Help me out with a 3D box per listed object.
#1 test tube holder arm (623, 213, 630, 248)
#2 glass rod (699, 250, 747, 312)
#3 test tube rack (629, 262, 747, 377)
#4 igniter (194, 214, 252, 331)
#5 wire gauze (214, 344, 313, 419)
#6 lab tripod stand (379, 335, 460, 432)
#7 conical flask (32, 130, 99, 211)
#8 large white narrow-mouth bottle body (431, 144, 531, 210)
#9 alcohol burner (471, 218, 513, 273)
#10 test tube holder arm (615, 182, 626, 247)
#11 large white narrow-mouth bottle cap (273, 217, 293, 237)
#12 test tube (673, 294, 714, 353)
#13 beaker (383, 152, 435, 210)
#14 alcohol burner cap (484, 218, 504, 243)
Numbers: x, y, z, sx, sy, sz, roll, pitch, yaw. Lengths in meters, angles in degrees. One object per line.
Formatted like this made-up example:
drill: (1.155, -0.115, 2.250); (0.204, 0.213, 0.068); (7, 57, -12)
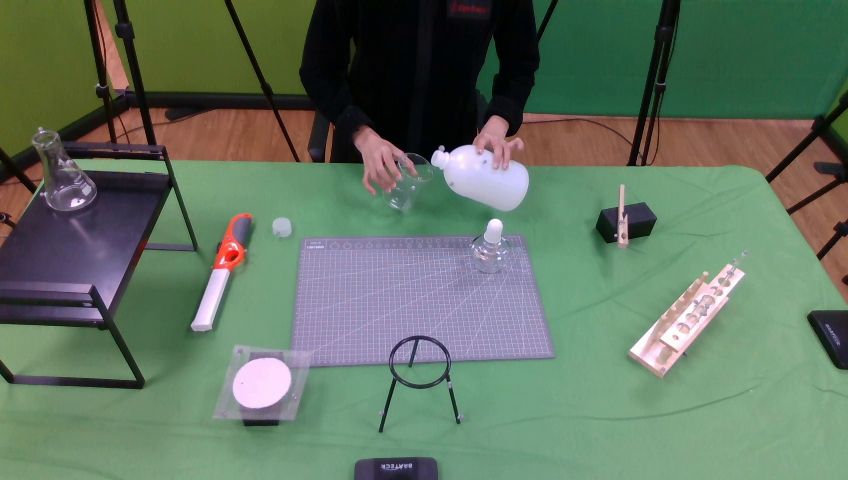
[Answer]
test tube holder arm: (0.392, -0.020, 1.180); (0.010, 0.015, 0.087); (17, 48, -4)
glass rod: (0.500, 0.074, 1.021); (0.008, 0.201, 0.008); (0, 55, 1)
test tube rack: (0.464, 0.126, 1.061); (0.242, 0.085, 0.066); (-34, 56, -30)
igniter: (-0.367, 0.050, 1.119); (0.057, 0.025, 0.275); (-4, 46, 7)
wire gauze: (-0.241, 0.213, 0.916); (0.121, 0.011, 0.124); (5, 46, 1)
lab tripod stand: (-0.010, 0.214, 0.911); (0.148, 0.132, 0.147); (1, 45, 0)
conical flask: (-0.565, -0.111, 0.944); (0.075, 0.122, 0.075); (2, 46, -2)
large white narrow-mouth bottle body: (0.105, -0.132, 1.181); (0.195, 0.102, 0.101); (18, 42, -22)
alcohol burner: (0.128, 0.005, 1.132); (0.078, 0.120, 0.077); (1, 47, 0)
test tube holder arm: (0.393, -0.054, 1.210); (0.013, 0.015, 0.177); (16, 48, -5)
large white narrow-mouth bottle cap: (-0.281, -0.026, 1.203); (0.038, 0.024, 0.037); (2, 46, -2)
test tube: (0.428, 0.137, 0.978); (0.017, 0.151, 0.017); (4, 47, -4)
beaker: (-0.033, -0.115, 1.207); (0.084, 0.100, 0.073); (-6, 58, -34)
alcohol burner cap: (0.130, -0.021, 1.106); (0.034, 0.048, 0.033); (3, 51, -4)
